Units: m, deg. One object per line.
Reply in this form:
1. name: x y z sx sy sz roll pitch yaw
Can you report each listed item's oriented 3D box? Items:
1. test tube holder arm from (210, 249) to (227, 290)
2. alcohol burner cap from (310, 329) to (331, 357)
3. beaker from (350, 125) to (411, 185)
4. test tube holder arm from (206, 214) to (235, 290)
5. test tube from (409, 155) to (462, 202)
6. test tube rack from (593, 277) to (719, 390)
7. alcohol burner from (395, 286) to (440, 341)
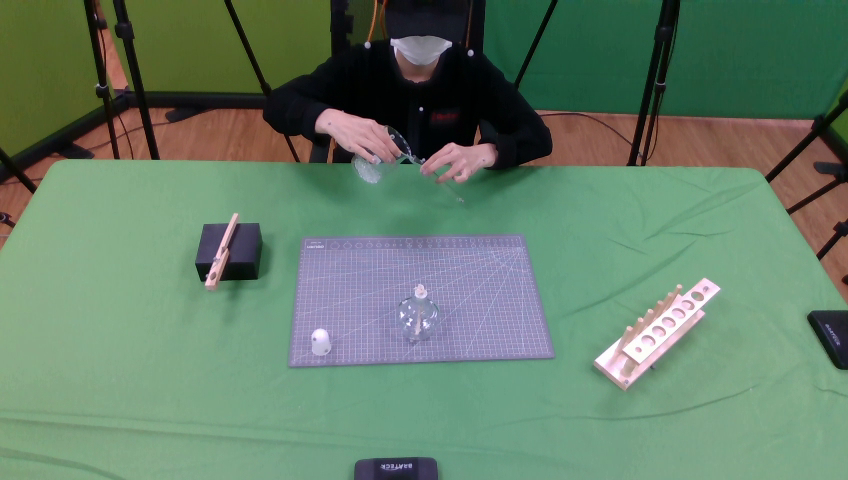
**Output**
1. test tube holder arm: -0.359 0.050 1.059 0.010 0.015 0.087 8 45 -8
2. alcohol burner cap: -0.173 0.168 1.005 0.034 0.048 0.033 2 46 -2
3. beaker: -0.085 -0.160 1.173 0.084 0.100 0.073 43 23 -22
4. test tube holder arm: -0.364 0.017 1.090 0.013 0.015 0.177 7 45 -8
5. test tube: 0.025 -0.121 1.212 0.151 0.017 0.017 38 35 -32
6. test tube rack: 0.401 0.148 1.043 0.242 0.085 0.066 -30 55 -29
7. alcohol burner: -0.010 0.116 1.018 0.078 0.119 0.077 3 47 -3
